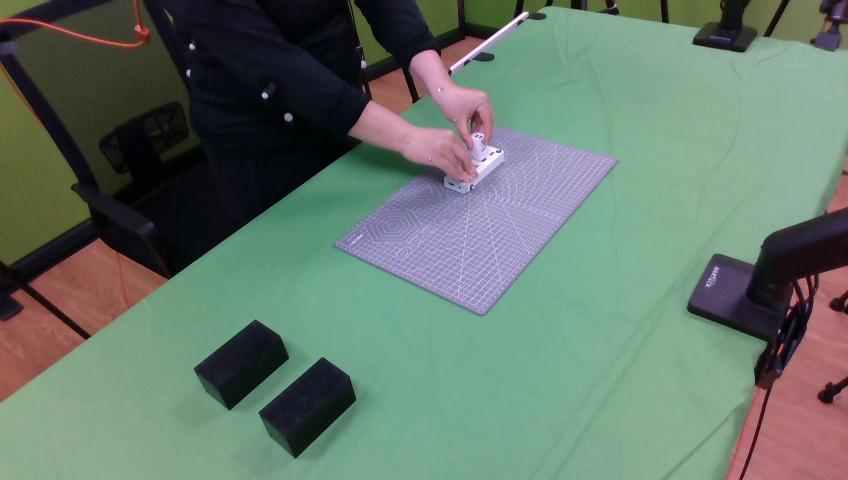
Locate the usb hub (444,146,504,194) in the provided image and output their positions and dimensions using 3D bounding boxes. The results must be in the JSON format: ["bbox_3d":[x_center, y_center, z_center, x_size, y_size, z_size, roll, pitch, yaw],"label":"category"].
[{"bbox_3d":[0.093,-0.129,1.102,0.049,0.025,0.125,25,50,31],"label":"usb hub"}]

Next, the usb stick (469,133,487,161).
[{"bbox_3d":[0.098,-0.162,1.094,0.027,0.059,0.021,24,48,27],"label":"usb stick"}]
